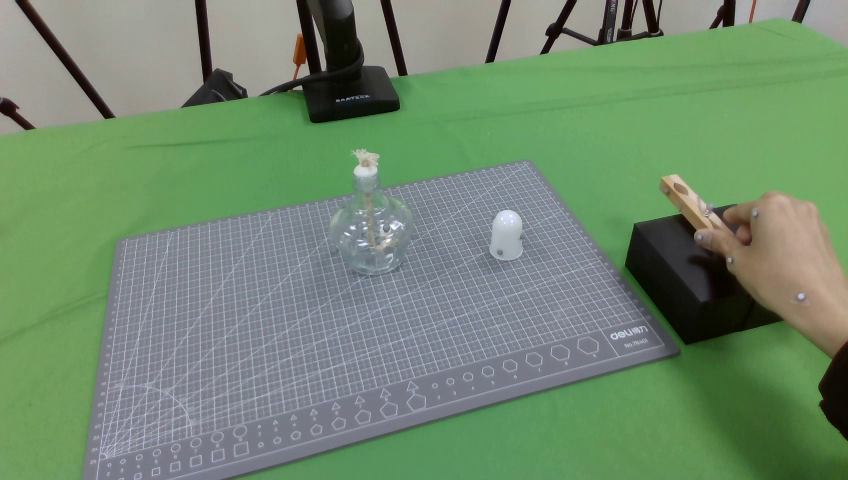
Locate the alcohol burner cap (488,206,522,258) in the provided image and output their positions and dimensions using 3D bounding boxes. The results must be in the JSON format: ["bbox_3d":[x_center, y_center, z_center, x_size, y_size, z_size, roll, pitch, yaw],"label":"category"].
[{"bbox_3d":[0.077,-0.009,0.567,0.034,0.048,0.033,-2,41,2],"label":"alcohol burner cap"}]

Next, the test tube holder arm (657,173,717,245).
[{"bbox_3d":[0.232,-0.029,0.529,0.010,0.015,0.087,-19,44,-4],"label":"test tube holder arm"}]

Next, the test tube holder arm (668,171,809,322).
[{"bbox_3d":[0.250,-0.002,0.498,0.013,0.015,0.176,-20,44,-5],"label":"test tube holder arm"}]

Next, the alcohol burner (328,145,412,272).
[{"bbox_3d":[-0.050,-0.031,0.543,0.078,0.120,0.077,-2,39,2],"label":"alcohol burner"}]
